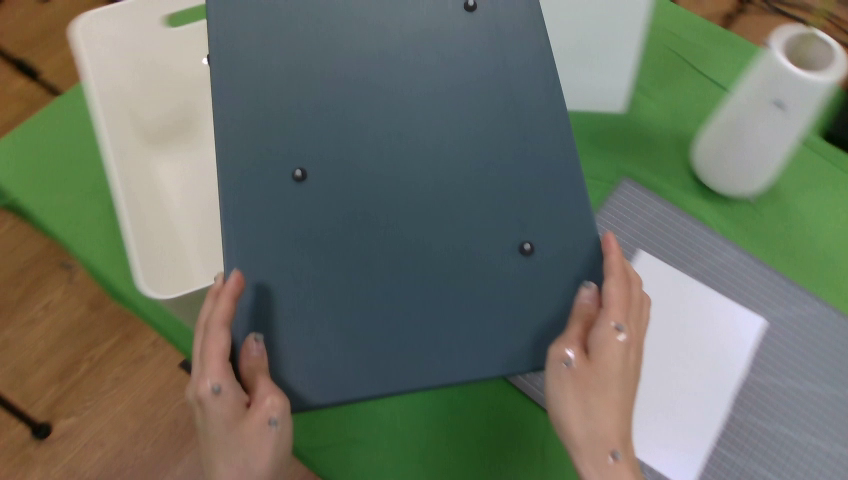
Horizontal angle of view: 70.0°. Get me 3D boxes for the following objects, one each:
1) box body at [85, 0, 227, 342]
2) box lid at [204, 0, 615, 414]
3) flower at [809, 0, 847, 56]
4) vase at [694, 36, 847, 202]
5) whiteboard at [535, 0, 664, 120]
[{"bbox_3d":[-0.178,-0.098,0.662,0.254,0.161,0.360,-20,65,-11],"label":"box body"},{"bbox_3d":[-0.025,-0.076,0.453,0.263,0.015,0.369,-9,73,-2],"label":"box lid"},{"bbox_3d":[0.384,-0.180,0.606,0.044,0.364,0.038,31,49,18],"label":"flower"},{"bbox_3d":[0.380,-0.128,0.673,0.098,0.201,0.097,0,61,0],"label":"vase"},{"bbox_3d":[0.174,-0.324,0.744,0.217,0.308,0.142,5,43,2],"label":"whiteboard"}]
